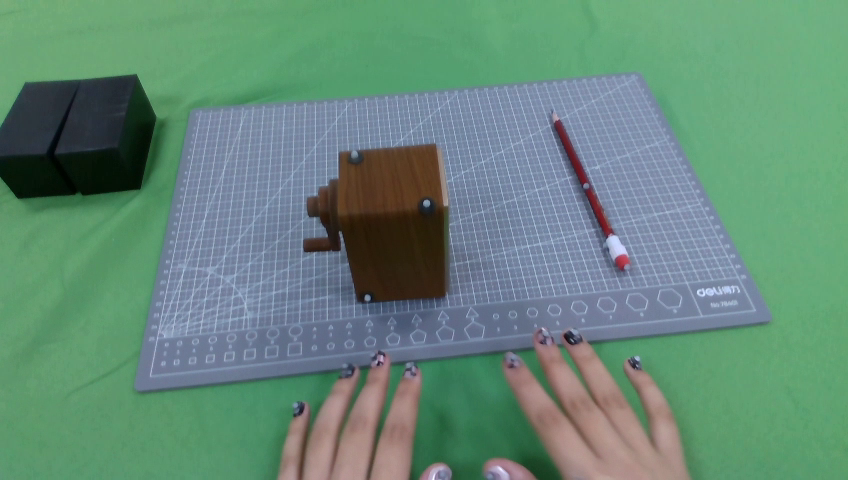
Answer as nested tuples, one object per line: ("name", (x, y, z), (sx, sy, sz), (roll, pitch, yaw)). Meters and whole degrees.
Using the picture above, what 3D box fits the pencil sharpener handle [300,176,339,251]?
("pencil sharpener handle", (-0.075, -0.014, 0.416), (0.030, 0.068, 0.035), (-5, 54, -1))

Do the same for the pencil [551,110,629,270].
("pencil", (0.137, -0.052, 0.519), (0.012, 0.012, 0.192), (-7, 51, -5))

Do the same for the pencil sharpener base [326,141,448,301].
("pencil sharpener base", (-0.024, -0.010, 0.427), (0.077, 0.108, 0.060), (-5, 52, -1))
